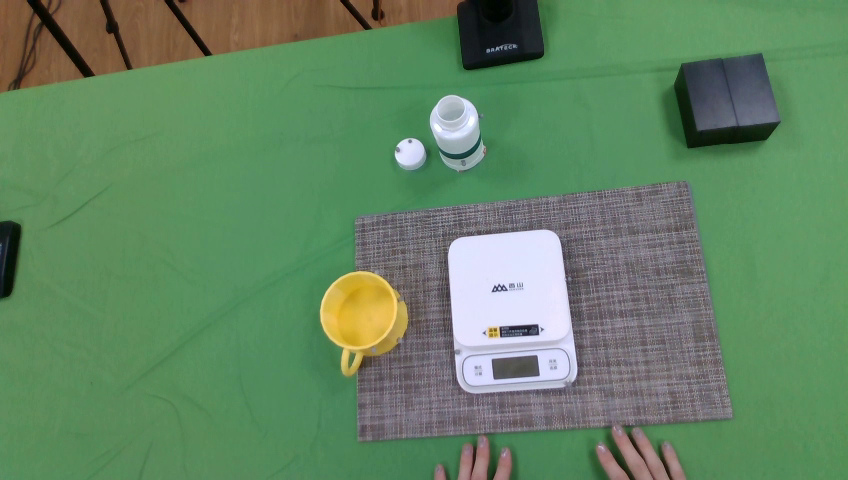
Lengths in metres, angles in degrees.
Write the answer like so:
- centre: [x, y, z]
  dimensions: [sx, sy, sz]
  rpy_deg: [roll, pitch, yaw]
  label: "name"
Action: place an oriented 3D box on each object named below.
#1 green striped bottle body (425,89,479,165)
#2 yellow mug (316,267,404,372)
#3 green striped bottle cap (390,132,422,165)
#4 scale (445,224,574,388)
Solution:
- centre: [0.037, -0.152, 0.805]
  dimensions: [0.063, 0.120, 0.063]
  rpy_deg: [-3, 72, 9]
  label: "green striped bottle body"
- centre: [-0.085, 0.105, 0.773]
  dimensions: [0.099, 0.064, 0.130]
  rpy_deg: [12, 77, 13]
  label: "yellow mug"
- centre: [-0.026, -0.131, 0.866]
  dimensions: [0.044, 0.020, 0.044]
  rpy_deg: [-1, 79, 8]
  label: "green striped bottle cap"
- centre: [0.105, 0.081, 0.767]
  dimensions: [0.148, 0.032, 0.199]
  rpy_deg: [-6, 73, 8]
  label: "scale"
